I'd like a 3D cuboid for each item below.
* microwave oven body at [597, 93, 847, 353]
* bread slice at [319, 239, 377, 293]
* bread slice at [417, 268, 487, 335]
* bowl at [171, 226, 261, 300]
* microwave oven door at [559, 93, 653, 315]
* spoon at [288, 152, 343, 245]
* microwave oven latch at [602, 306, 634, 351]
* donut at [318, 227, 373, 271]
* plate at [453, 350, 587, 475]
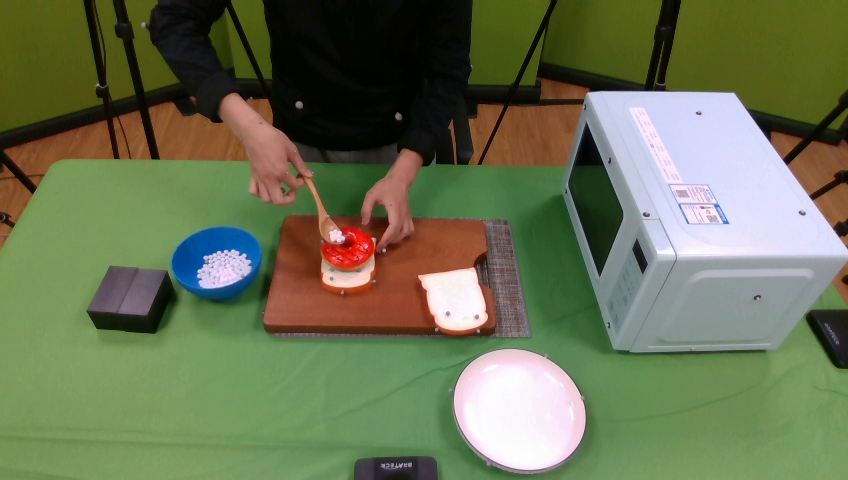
[{"bbox_3d":[0.475,-0.041,1.109,0.326,0.261,0.438,-1,45,-4],"label":"microwave oven body"},{"bbox_3d":[-0.140,0.044,1.111,0.105,0.019,0.130,0,44,-3],"label":"bread slice"},{"bbox_3d":[0.055,0.107,1.063,0.107,0.018,0.133,-9,48,-12],"label":"bread slice"},{"bbox_3d":[-0.363,0.054,1.081,0.151,0.077,0.150,3,45,-3],"label":"bowl"},{"bbox_3d":[0.327,-0.074,1.123,0.039,0.245,0.353,-1,46,-5],"label":"microwave oven door"},{"bbox_3d":[-0.194,-0.074,1.069,0.042,0.021,0.193,-18,79,-40],"label":"spoon"},{"bbox_3d":[0.332,0.153,1.044,0.030,0.029,0.078,-1,45,-4],"label":"microwave oven latch"},{"bbox_3d":[-0.141,0.017,1.095,0.099,0.048,0.098,2,44,-2],"label":"donut"},{"bbox_3d":[0.147,0.267,0.943,0.208,0.039,0.206,2,45,-2],"label":"plate"}]
